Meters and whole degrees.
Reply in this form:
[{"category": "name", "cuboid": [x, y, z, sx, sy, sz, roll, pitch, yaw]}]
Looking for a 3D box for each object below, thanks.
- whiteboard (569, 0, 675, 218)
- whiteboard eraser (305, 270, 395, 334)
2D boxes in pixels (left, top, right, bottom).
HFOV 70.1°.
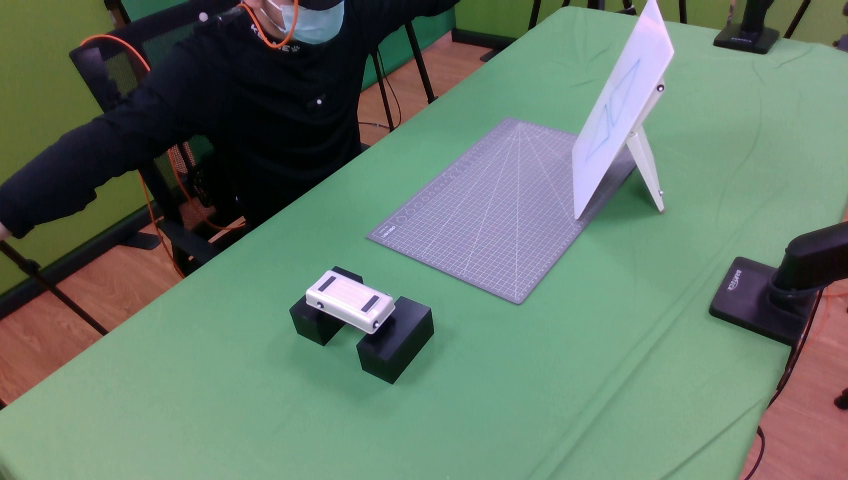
[{"category": "whiteboard", "cuboid": [0.363, -0.187, 0.965, 0.144, 0.305, 0.216, 18, 42, -3]}, {"category": "whiteboard eraser", "cuboid": [-0.098, 0.083, 0.799, 0.112, 0.042, 0.056, 20, 44, 25]}]
